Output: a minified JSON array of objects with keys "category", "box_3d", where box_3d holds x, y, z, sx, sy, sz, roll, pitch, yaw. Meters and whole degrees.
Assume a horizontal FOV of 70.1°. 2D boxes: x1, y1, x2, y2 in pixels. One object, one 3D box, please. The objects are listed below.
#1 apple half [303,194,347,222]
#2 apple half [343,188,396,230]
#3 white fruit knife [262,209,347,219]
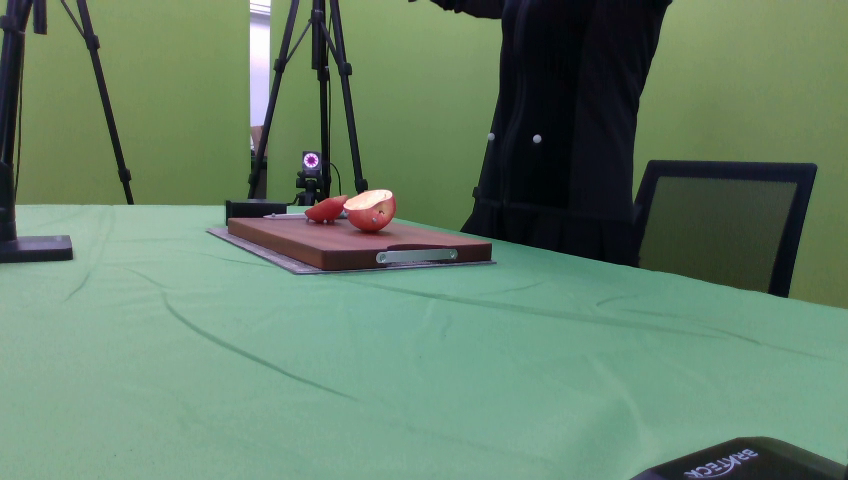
[{"category":"apple half","box_3d":[-0.166,-0.051,1.051,0.081,0.033,0.081,-21,-3,-1]},{"category":"apple half","box_3d":[-0.084,-0.044,0.954,0.081,0.053,0.074,-32,30,-34]},{"category":"white fruit knife","box_3d":[-0.198,-0.047,1.113,0.208,0.016,0.027,-5,-18,-35]}]
